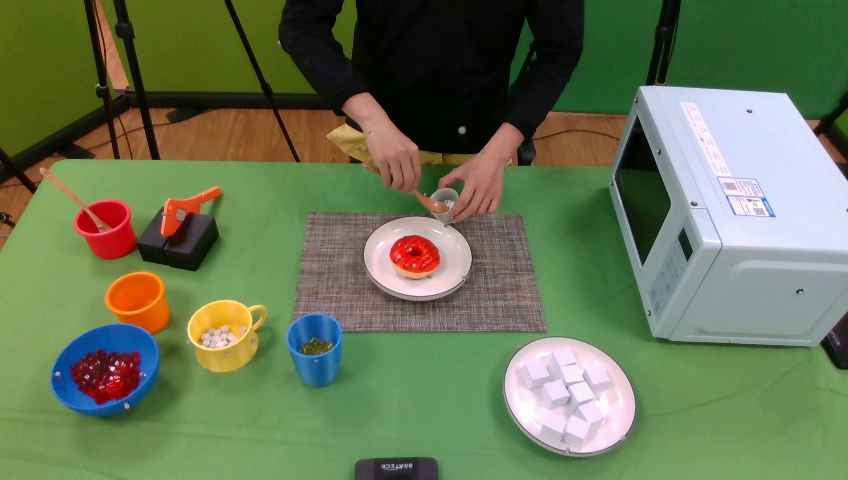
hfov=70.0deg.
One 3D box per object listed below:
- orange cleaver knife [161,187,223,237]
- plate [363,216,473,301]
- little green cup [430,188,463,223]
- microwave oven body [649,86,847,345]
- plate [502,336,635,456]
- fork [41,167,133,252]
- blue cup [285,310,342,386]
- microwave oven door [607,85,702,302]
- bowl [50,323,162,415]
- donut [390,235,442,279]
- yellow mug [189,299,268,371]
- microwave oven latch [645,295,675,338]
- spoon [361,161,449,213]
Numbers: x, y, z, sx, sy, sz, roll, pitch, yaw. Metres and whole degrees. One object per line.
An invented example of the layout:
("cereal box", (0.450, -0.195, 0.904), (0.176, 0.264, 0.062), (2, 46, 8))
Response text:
("orange cleaver knife", (-0.448, -0.058, 1.181), (0.012, 0.077, 0.211), (13, 17, 6))
("plate", (-0.012, 0.038, 1.145), (0.209, 0.038, 0.208), (2, 45, -2))
("little green cup", (0.043, -0.064, 1.139), (0.061, 0.039, 0.061), (-11, 55, 17))
("microwave oven body", (0.568, -0.053, 1.118), (0.326, 0.261, 0.439), (2, 45, -1))
("plate", (0.225, 0.248, 0.963), (0.208, 0.039, 0.206), (2, 46, -2))
("fork", (-0.624, -0.056, 1.121), (0.208, 0.018, 0.028), (49, 51, -15))
("blue cup", (-0.170, 0.179, 0.958), (0.093, 0.101, 0.092), (2, 44, -1))
("microwave oven door", (0.423, -0.094, 1.141), (0.039, 0.245, 0.353), (2, 46, -1))
("bowl", (-0.472, 0.209, 0.924), (0.151, 0.077, 0.150), (3, 45, -2))
("donut", (-0.016, 0.032, 1.135), (0.099, 0.048, 0.098), (3, 44, -3))
("yellow mug", (-0.316, 0.148, 1.002), (0.131, 0.064, 0.099), (-32, 56, -31))
("microwave oven latch", (0.412, 0.134, 1.061), (0.030, 0.029, 0.078), (3, 45, 0))
("spoon", (-0.032, -0.096, 1.088), (0.195, 0.021, 0.041), (31, 25, -31))
